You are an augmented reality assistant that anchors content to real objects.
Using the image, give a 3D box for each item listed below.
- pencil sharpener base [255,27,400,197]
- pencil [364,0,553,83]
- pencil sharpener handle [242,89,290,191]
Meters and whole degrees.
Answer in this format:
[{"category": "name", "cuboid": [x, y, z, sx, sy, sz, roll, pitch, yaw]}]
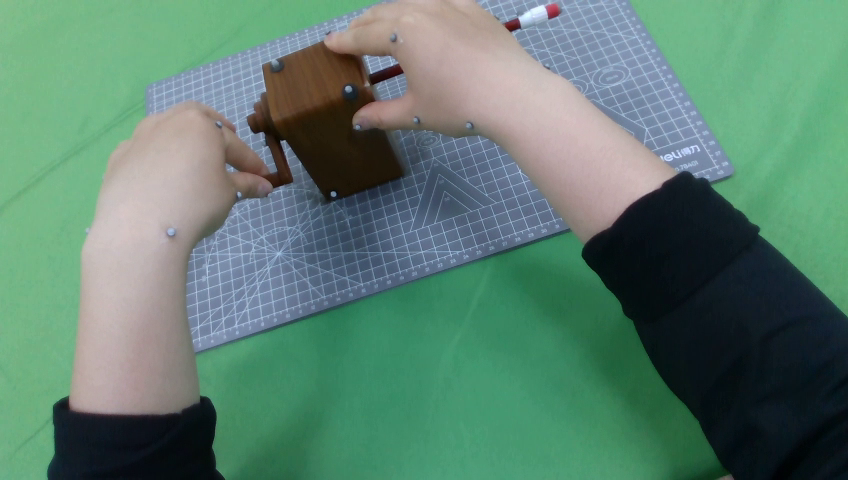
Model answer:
[{"category": "pencil sharpener base", "cuboid": [-0.071, -0.091, 0.457, 0.077, 0.108, 0.061, -21, 60, 3]}, {"category": "pencil", "cuboid": [-0.001, -0.130, 0.428, 0.194, 0.012, 0.012, -21, 61, 3]}, {"category": "pencil sharpener handle", "cuboid": [-0.119, -0.070, 0.433, 0.030, 0.036, 0.067, -21, 86, 2]}]
